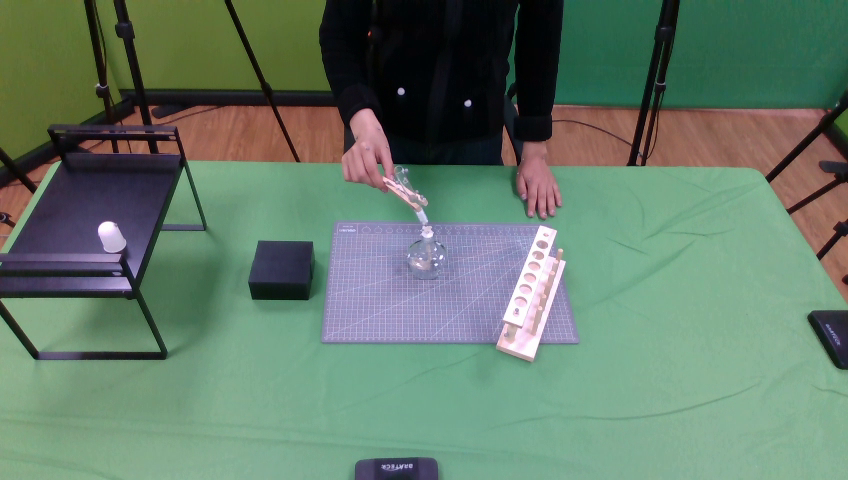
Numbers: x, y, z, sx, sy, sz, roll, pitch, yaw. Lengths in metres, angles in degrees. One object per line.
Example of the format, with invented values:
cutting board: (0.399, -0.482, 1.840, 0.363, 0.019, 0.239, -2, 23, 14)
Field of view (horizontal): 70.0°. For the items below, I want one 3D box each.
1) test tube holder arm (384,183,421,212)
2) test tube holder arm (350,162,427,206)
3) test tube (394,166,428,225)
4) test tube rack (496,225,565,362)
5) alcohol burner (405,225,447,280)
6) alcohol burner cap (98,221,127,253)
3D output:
test tube holder arm: (-0.036, -0.073, 1.013, 0.010, 0.015, 0.087, -42, 54, -12)
test tube holder arm: (-0.063, -0.098, 1.039, 0.177, 0.015, 0.013, 31, 70, 33)
test tube: (-0.020, -0.070, 0.995, 0.017, 0.151, 0.017, -9, 55, 13)
test tube rack: (0.200, 0.089, 1.081, 0.066, 0.085, 0.241, 19, 48, 13)
alcohol burner: (0.005, 0.017, 1.115, 0.078, 0.120, 0.077, 1, 47, -1)
alcohol burner cap: (-0.468, -0.007, 0.904, 0.034, 0.048, 0.033, 3, 46, -3)
